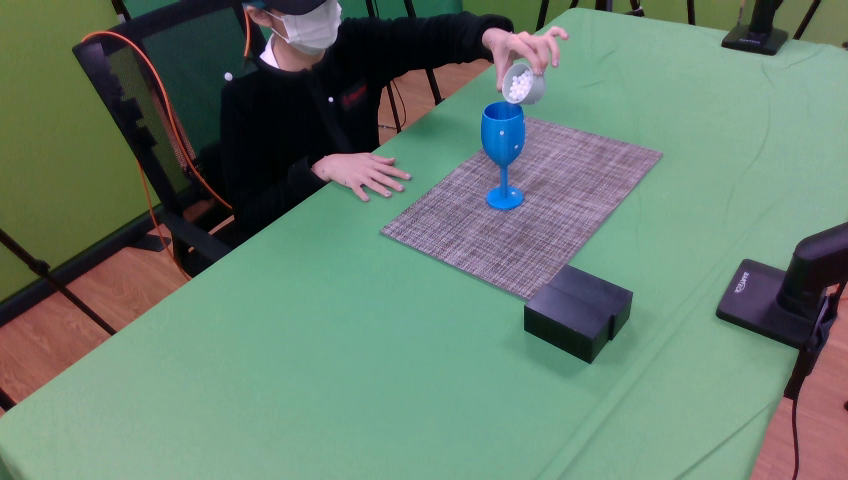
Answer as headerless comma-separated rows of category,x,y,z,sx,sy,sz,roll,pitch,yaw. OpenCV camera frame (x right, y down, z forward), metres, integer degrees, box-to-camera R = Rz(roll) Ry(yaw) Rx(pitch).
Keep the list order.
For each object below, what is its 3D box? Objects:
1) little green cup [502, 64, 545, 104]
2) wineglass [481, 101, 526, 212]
little green cup,0.156,-0.239,0.935,0.039,0.061,0.061,0,29,-40
wineglass,0.131,-0.136,0.992,0.074,0.173,0.073,-4,40,4
